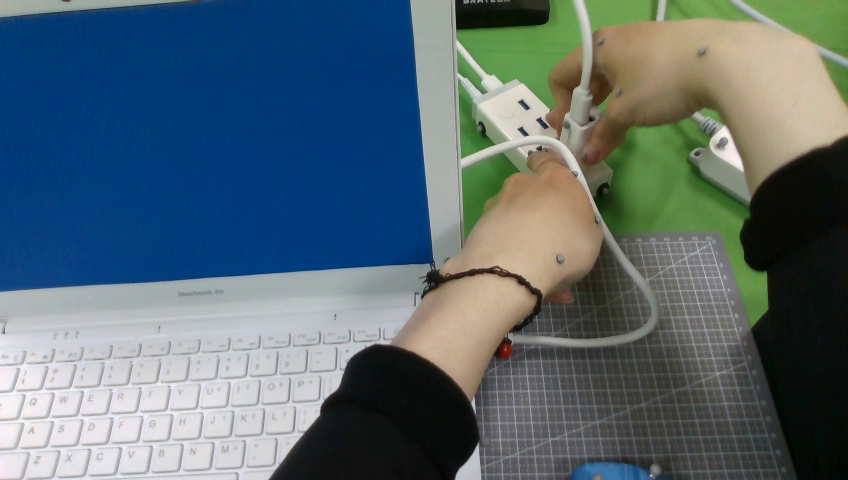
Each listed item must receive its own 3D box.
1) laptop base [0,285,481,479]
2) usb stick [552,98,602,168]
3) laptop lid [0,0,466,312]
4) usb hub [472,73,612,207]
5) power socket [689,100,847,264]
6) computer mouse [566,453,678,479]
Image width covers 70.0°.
[{"bbox_3d":[-0.143,0.142,0.359,0.354,0.023,0.233,-4,60,1],"label":"laptop base"},{"bbox_3d":[0.111,-0.075,0.445,0.027,0.059,0.021,-37,69,-12],"label":"usb stick"},{"bbox_3d":[-0.155,-0.043,0.341,0.357,0.244,0.013,-5,43,2],"label":"laptop lid"},{"bbox_3d":[0.091,-0.084,0.489,0.049,0.025,0.124,-27,59,-14],"label":"usb hub"},{"bbox_3d":[0.305,-0.026,0.434,0.072,0.033,0.224,-38,62,-20],"label":"power socket"},{"bbox_3d":[0.102,0.168,0.313,0.062,0.041,0.116,8,53,12],"label":"computer mouse"}]
